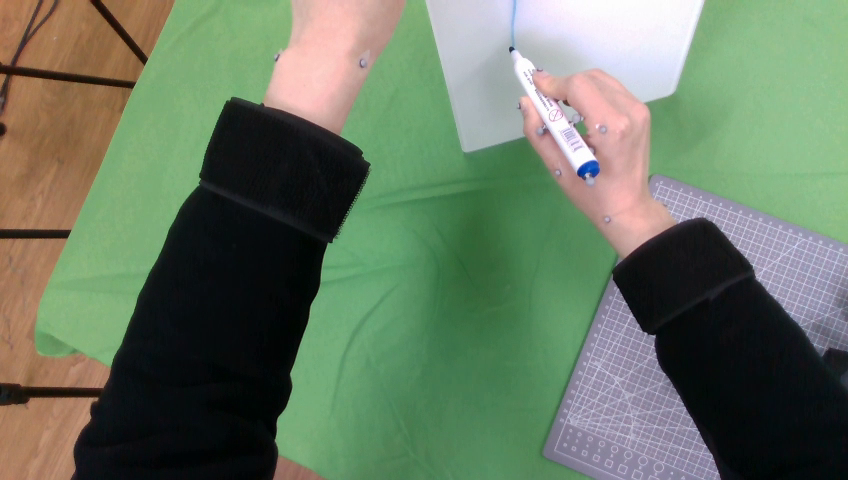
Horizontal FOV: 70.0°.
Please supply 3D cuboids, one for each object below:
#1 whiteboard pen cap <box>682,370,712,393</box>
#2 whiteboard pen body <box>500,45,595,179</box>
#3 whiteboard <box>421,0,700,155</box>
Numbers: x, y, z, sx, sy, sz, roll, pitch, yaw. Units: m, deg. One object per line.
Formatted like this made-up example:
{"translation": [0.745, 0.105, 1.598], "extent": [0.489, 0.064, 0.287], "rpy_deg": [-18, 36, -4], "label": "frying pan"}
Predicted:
{"translation": [0.259, 0.133, 0.576], "extent": [0.018, 0.033, 0.018], "rpy_deg": [0, 91, 4], "label": "whiteboard pen cap"}
{"translation": [0.084, -0.097, 0.434], "extent": [0.017, 0.017, 0.139], "rpy_deg": [-26, 58, 4], "label": "whiteboard pen body"}
{"translation": [0.100, -0.231, 0.496], "extent": [0.217, 0.308, 0.142], "rpy_deg": [-14, 67, 5], "label": "whiteboard"}
